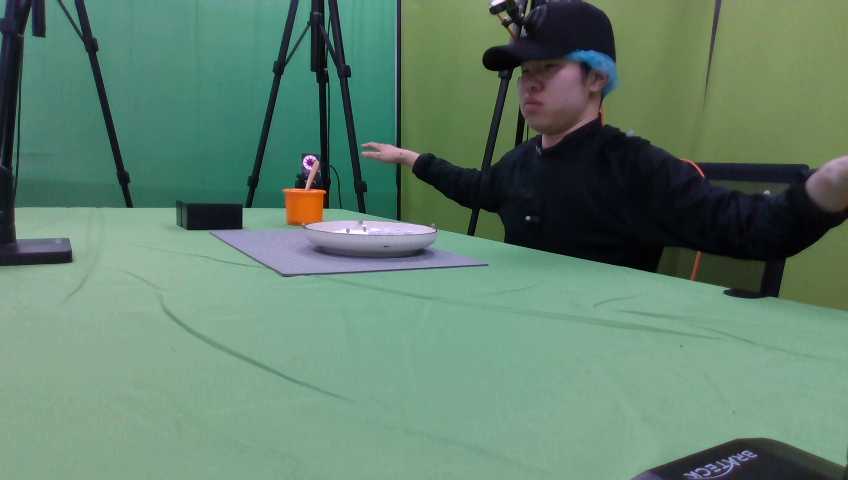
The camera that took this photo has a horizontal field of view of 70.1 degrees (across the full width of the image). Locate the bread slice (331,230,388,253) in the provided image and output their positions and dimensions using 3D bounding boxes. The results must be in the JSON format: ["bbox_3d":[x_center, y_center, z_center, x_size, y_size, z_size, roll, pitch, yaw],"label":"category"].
[{"bbox_3d":[-0.088,0.000,0.947,0.105,0.019,0.131,-4,11,-44],"label":"bread slice"}]

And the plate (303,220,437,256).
[{"bbox_3d":[-0.084,-0.003,0.951,0.209,0.038,0.209,3,7,0],"label":"plate"}]

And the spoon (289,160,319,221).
[{"bbox_3d":[-0.259,-0.112,1.339,0.041,0.193,0.022,0,-37,11],"label":"spoon"}]
